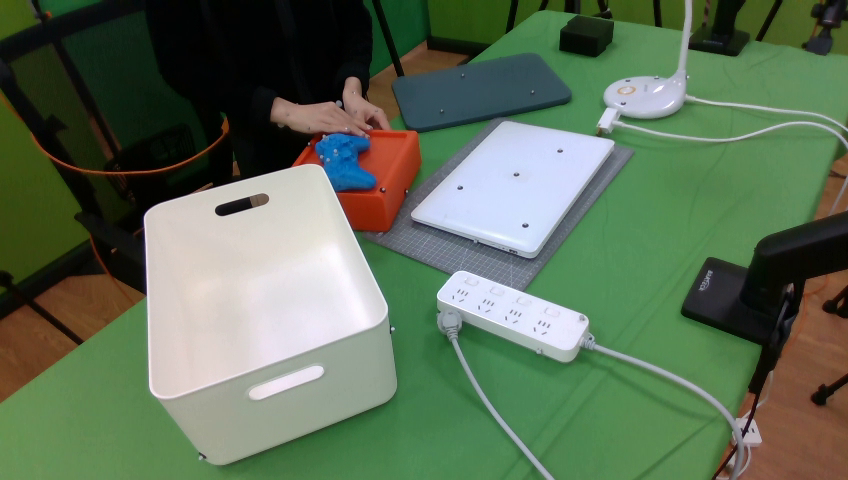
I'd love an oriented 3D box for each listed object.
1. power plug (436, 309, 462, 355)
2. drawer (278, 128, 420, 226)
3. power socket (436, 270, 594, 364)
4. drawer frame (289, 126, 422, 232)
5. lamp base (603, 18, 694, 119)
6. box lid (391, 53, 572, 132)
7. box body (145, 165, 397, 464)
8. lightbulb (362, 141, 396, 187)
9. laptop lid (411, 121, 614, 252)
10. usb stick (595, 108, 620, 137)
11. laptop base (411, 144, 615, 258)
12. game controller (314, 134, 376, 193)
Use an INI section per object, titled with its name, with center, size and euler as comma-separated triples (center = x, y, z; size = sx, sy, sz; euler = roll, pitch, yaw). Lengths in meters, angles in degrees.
[power plug]
center = 0.032, 0.126, 0.809
size = 0.035, 0.053, 0.072
euler = 3, 59, 7
[drawer]
center = -0.127, -0.117, 1.086
size = 0.194, 0.073, 0.211
euler = 5, 41, 14
[power socket]
center = 0.118, 0.102, 0.830
size = 0.225, 0.033, 0.072
euler = 20, 48, 28
[drawer frame]
center = -0.128, -0.116, 1.082
size = 0.201, 0.083, 0.213
euler = 5, 42, 15
[lamp base]
center = 0.460, -0.355, 1.205
size = 0.179, 0.181, 0.160
euler = 2, 41, 7
[box lid]
center = 0.122, -0.339, 1.366
size = 0.372, 0.015, 0.261
euler = -12, 40, -5
[box body]
center = -0.205, 0.080, 0.802
size = 0.255, 0.161, 0.361
euler = -18, 41, -13
[lightbulb]
center = -0.077, -0.137, 1.111
size = 0.060, 0.060, 0.107
euler = -16, 52, -11
[laptop lid]
center = 0.164, -0.112, 1.068
size = 0.240, 0.013, 0.357
euler = 19, 46, 30
[usb stick]
center = 0.355, -0.225, 1.175
size = 0.027, 0.022, 0.059
euler = 29, 85, 41
[laptop base]
center = 0.167, -0.102, 1.074
size = 0.234, 0.023, 0.355
euler = 16, 45, 30
[game controller]
center = -0.138, -0.136, 1.028
size = 0.097, 0.052, 0.154
euler = -13, 39, 0
